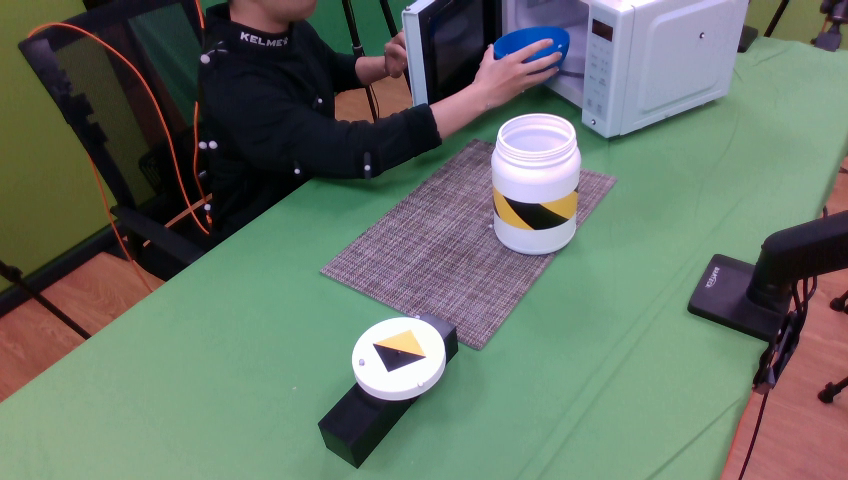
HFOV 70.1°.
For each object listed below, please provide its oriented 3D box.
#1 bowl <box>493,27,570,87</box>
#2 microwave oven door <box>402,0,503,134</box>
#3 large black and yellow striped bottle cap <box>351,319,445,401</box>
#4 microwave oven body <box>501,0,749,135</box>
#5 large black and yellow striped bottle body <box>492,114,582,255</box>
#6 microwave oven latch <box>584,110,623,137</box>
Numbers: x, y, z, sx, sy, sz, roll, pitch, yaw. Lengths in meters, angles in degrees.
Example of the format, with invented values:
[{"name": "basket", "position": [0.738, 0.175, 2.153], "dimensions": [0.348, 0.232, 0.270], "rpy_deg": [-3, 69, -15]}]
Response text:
[{"name": "bowl", "position": [0.217, -0.358, 1.205], "dimensions": [0.151, 0.077, 0.150], "rpy_deg": [-9, 37, 7]}, {"name": "microwave oven door", "position": [0.073, -0.412, 1.243], "dimensions": [0.039, 0.245, 0.356], "rpy_deg": [17, 46, 26]}, {"name": "large black and yellow striped bottle cap", "position": [-0.031, 0.143, 0.735], "dimensions": [0.115, 0.019, 0.114], "rpy_deg": [-3, 40, 3]}, {"name": "microwave oven body", "position": [0.382, -0.444, 1.246], "dimensions": [0.327, 0.261, 0.437], "rpy_deg": [-22, 42, -16]}, {"name": "large black and yellow striped bottle body", "position": [0.169, -0.083, 0.912], "dimensions": [0.131, 0.185, 0.130], "rpy_deg": [-4, 41, 4]}, {"name": "microwave oven latch", "position": [0.337, -0.222, 1.142], "dimensions": [0.030, 0.029, 0.078], "rpy_deg": [-21, 42, -14]}]
